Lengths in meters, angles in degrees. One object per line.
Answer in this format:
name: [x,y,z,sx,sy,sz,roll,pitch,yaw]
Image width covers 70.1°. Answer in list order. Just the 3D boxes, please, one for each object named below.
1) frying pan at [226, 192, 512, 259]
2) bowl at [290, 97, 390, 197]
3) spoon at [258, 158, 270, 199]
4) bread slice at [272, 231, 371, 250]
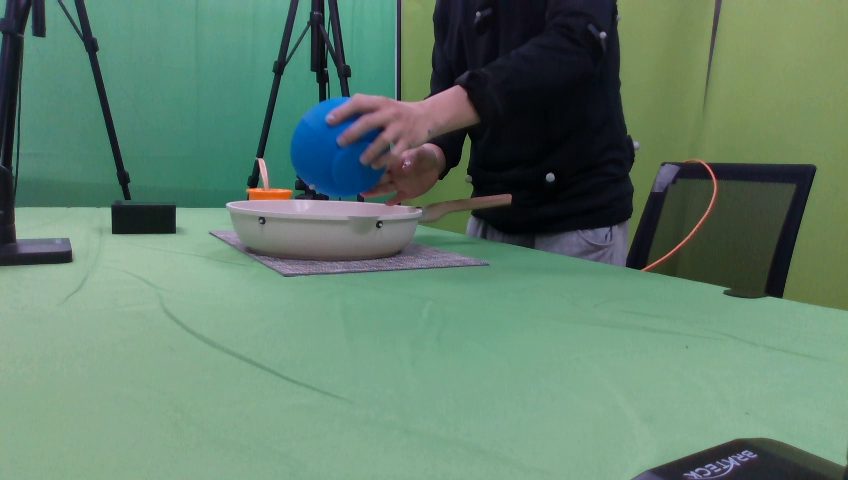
frying pan: [-0.058,-0.041,0.975,0.490,0.102,0.305,-11,13,-26]
bowl: [-0.106,-0.118,0.860,0.152,0.151,0.076,-2,33,-33]
spoon: [-0.332,-0.107,1.269,0.042,0.021,0.193,1,52,-24]
bread slice: [-0.148,0.001,0.929,0.133,0.018,0.107,5,8,38]
